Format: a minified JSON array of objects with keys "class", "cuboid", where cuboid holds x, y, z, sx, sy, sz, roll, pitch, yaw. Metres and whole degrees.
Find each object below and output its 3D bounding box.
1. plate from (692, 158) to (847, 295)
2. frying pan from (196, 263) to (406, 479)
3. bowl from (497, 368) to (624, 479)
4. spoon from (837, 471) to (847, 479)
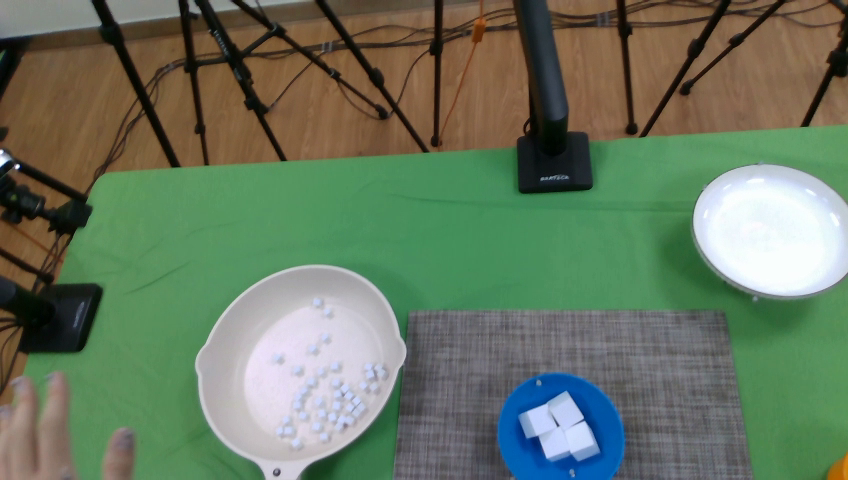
[{"class":"plate","cuboid":[0.473,-0.017,0.825,0.207,0.039,0.206,-5,62,9]},{"class":"frying pan","cuboid":[-0.178,0.257,0.812,0.306,0.104,0.483,-3,52,10]},{"class":"bowl","cuboid":[0.169,0.247,0.761,0.151,0.077,0.150,-5,60,9]},{"class":"spoon","cuboid":[0.544,0.252,0.651,0.022,0.194,0.041,12,53,-33]}]
